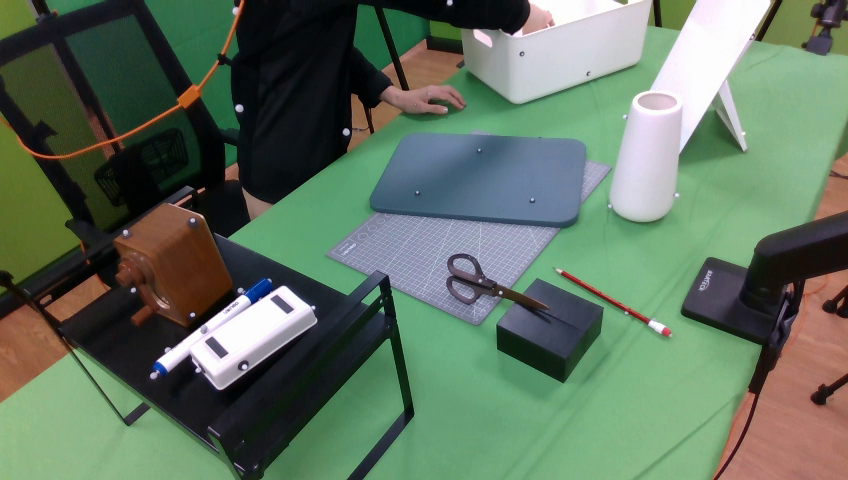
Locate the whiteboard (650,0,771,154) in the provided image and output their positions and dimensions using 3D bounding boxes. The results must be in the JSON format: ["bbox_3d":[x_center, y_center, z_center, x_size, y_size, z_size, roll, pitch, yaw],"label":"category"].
[{"bbox_3d":[0.543,-0.298,1.076,0.144,0.305,0.216,12,40,-7],"label":"whiteboard"}]

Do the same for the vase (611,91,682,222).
[{"bbox_3d":[0.348,-0.125,0.936,0.098,0.201,0.097,-3,40,3],"label":"vase"}]

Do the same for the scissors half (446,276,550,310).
[{"bbox_3d":[0.098,0.077,0.827,0.174,0.040,0.013,6,14,44],"label":"scissors half"}]

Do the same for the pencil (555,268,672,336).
[{"bbox_3d":[0.260,0.082,0.851,0.012,0.012,0.192,-33,45,-27],"label":"pencil"}]

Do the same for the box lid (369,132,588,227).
[{"bbox_3d":[0.107,-0.120,1.107,0.370,0.015,0.263,5,42,14],"label":"box lid"}]

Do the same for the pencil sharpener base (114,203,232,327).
[{"bbox_3d":[-0.262,0.029,0.636,0.061,0.107,0.077,18,47,26],"label":"pencil sharpener base"}]

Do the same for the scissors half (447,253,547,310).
[{"bbox_3d":[0.098,0.058,0.821,0.173,0.040,0.013,27,33,36],"label":"scissors half"}]

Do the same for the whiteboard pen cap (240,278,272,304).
[{"bbox_3d":[-0.183,0.057,0.658,0.018,0.018,0.033,19,44,28],"label":"whiteboard pen cap"}]

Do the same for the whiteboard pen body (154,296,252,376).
[{"bbox_3d":[-0.215,0.089,0.619,0.017,0.017,0.141,19,42,28],"label":"whiteboard pen body"}]

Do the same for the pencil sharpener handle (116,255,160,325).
[{"bbox_3d":[-0.286,0.050,0.594,0.035,0.068,0.031,7,41,35],"label":"pencil sharpener handle"}]

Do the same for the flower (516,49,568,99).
[{"bbox_3d":[0.291,-0.402,1.421,0.044,0.038,0.362,-11,23,34],"label":"flower"}]

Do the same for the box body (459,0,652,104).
[{"bbox_3d":[0.291,-0.465,1.371,0.365,0.161,0.252,-22,42,-16],"label":"box body"}]

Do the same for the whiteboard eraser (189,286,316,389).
[{"bbox_3d":[-0.166,0.096,0.593,0.113,0.042,0.055,-36,46,-29],"label":"whiteboard eraser"}]
